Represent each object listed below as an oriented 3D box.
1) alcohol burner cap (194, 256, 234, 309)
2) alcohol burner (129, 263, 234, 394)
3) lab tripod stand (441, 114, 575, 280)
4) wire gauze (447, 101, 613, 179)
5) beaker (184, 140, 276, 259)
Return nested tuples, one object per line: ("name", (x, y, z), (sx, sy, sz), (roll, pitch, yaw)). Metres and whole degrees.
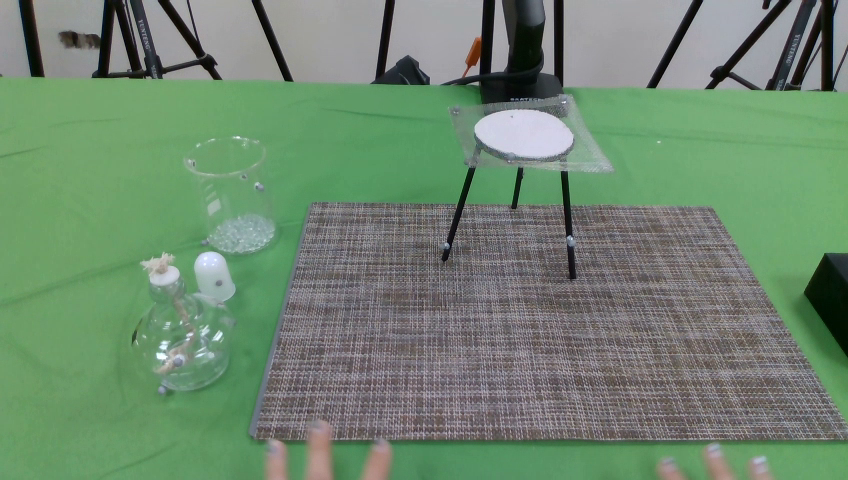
("alcohol burner cap", (-0.194, 0.036, 0.554), (0.034, 0.048, 0.033), (1, 39, -1))
("alcohol burner", (-0.188, 0.062, 0.464), (0.078, 0.120, 0.077), (2, 40, -1))
("lab tripod stand", (0.090, -0.041, 0.579), (0.148, 0.132, 0.147), (2, 38, -2))
("wire gauze", (0.088, -0.090, 0.533), (0.125, 0.011, 0.120), (-2, 40, -6))
("beaker", (-0.187, -0.039, 0.602), (0.074, 0.101, 0.083), (10, 39, 10))
